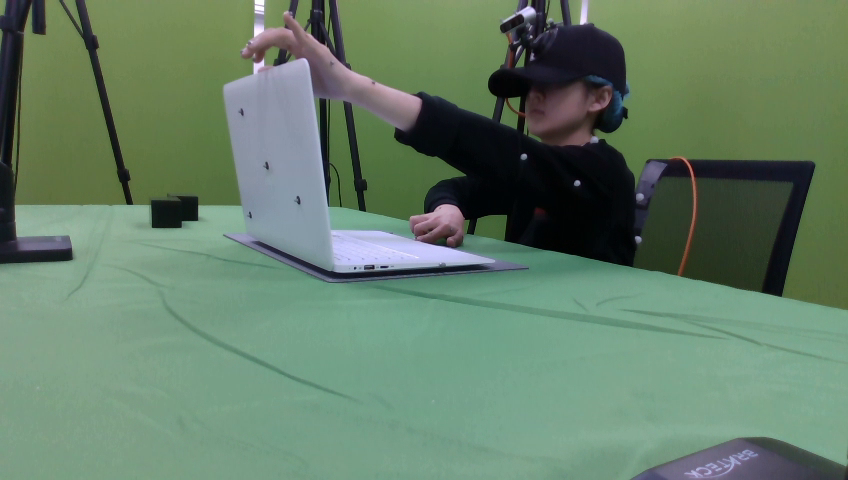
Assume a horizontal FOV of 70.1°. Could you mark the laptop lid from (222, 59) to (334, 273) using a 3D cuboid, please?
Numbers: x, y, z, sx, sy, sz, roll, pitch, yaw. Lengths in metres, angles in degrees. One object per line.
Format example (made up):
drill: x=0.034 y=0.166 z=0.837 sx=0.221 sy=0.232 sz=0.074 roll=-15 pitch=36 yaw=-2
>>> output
laptop lid: x=-0.204 y=-0.098 z=0.795 sx=0.013 sy=0.241 sz=0.355 roll=-13 pitch=16 yaw=-30

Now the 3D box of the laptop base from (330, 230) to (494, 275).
laptop base: x=-0.093 y=0.015 z=0.884 sx=0.237 sy=0.023 sz=0.352 roll=3 pitch=6 yaw=-32
